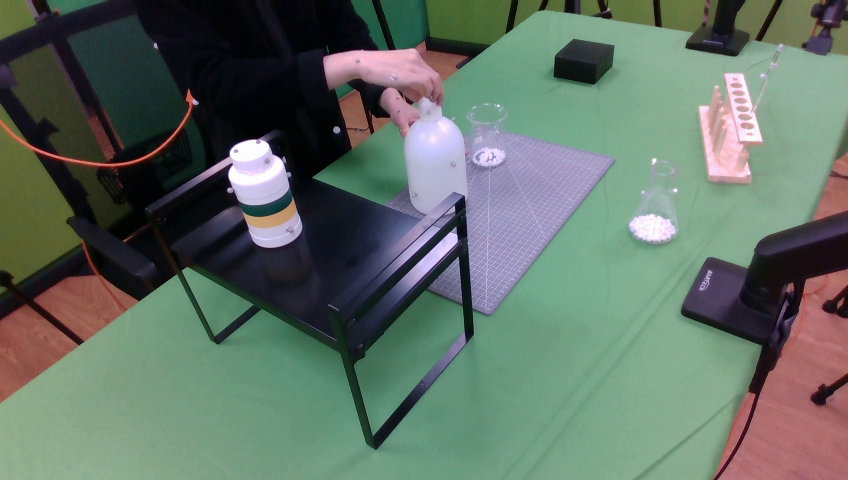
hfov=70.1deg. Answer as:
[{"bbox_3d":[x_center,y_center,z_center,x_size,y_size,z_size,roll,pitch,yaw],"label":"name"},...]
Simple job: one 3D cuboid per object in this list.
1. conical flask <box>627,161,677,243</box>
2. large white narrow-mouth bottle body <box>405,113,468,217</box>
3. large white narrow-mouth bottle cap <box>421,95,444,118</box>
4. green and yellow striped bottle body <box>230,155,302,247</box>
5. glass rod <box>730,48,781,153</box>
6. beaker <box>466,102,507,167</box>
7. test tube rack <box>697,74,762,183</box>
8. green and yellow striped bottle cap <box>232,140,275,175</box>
[{"bbox_3d":[0.355,-0.061,0.921,0.075,0.122,0.075,-4,41,4],"label":"conical flask"},{"bbox_3d":[0.020,-0.141,1.004,0.102,0.195,0.101,-3,39,3],"label":"large white narrow-mouth bottle body"},{"bbox_3d":[0.013,-0.210,0.950,0.038,0.024,0.037,-3,39,3],"label":"large white narrow-mouth bottle cap"},{"bbox_3d":[-0.188,-0.055,0.714,0.063,0.120,0.063,-4,41,4],"label":"green and yellow striped bottle body"},{"bbox_3d":[0.554,-0.228,1.015,0.008,0.200,0.008,1,44,-1],"label":"glass rod"},{"bbox_3d":[0.121,-0.195,1.124,0.084,0.101,0.073,-34,48,-28],"label":"beaker"},{"bbox_3d":[0.547,-0.208,1.095,0.066,0.085,0.242,5,42,15],"label":"test tube rack"},{"bbox_3d":[-0.192,-0.093,0.680,0.045,0.020,0.045,-5,39,5],"label":"green and yellow striped bottle cap"}]
